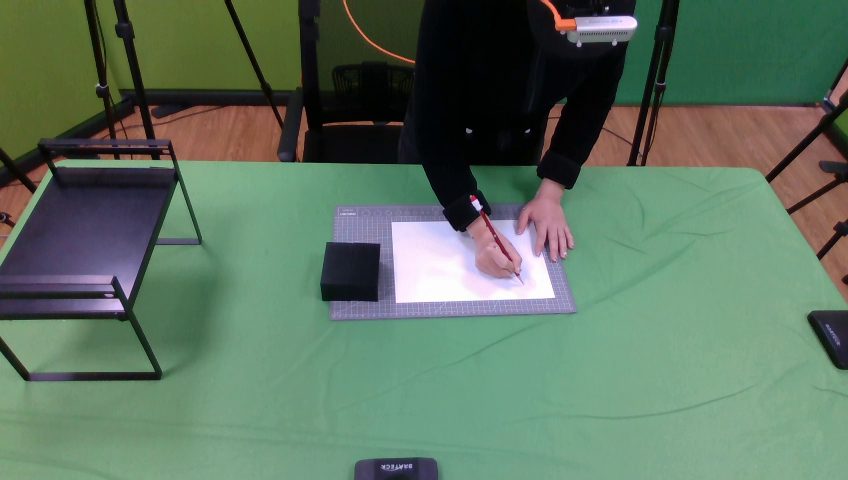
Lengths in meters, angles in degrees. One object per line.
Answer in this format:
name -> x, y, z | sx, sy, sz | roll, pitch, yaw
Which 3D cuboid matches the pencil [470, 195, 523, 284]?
pencil -> 0.136, 0.000, 1.122 | 0.012, 0.012, 0.194 | -37, 101, -32
